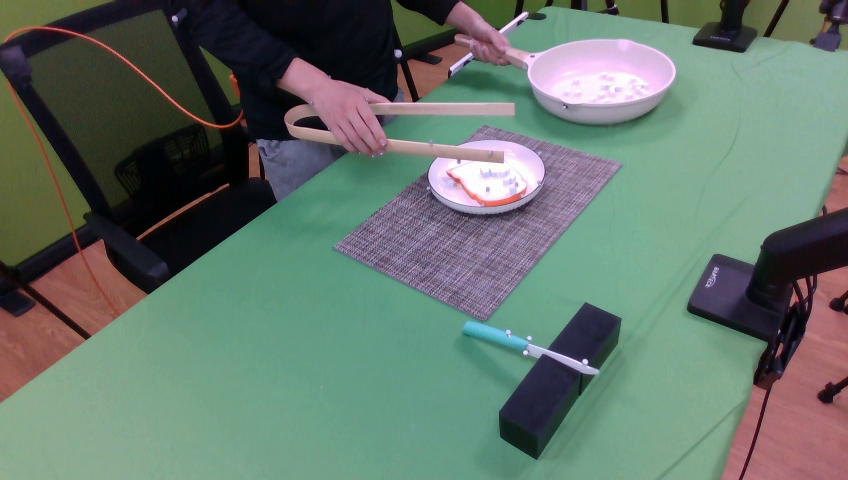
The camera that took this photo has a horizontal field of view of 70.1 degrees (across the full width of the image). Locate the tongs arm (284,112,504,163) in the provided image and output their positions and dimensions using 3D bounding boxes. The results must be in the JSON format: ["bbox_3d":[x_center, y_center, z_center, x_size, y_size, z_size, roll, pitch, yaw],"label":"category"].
[{"bbox_3d":[-0.056,-0.169,0.980,0.383,0.026,0.050,8,53,14],"label":"tongs arm"}]

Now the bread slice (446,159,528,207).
[{"bbox_3d":[0.118,-0.104,1.057,0.107,0.018,0.133,-24,42,-18],"label":"bread slice"}]

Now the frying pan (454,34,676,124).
[{"bbox_3d":[0.277,-0.370,1.295,0.485,0.103,0.307,26,49,22],"label":"frying pan"}]

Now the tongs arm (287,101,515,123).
[{"bbox_3d":[-0.041,-0.218,1.020,0.387,0.028,0.028,1,55,9],"label":"tongs arm"}]

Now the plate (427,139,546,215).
[{"bbox_3d":[0.109,-0.107,1.059,0.207,0.039,0.206,-4,41,4],"label":"plate"}]

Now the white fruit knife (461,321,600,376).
[{"bbox_3d":[0.125,0.133,0.752,0.205,0.027,0.016,12,45,42],"label":"white fruit knife"}]
